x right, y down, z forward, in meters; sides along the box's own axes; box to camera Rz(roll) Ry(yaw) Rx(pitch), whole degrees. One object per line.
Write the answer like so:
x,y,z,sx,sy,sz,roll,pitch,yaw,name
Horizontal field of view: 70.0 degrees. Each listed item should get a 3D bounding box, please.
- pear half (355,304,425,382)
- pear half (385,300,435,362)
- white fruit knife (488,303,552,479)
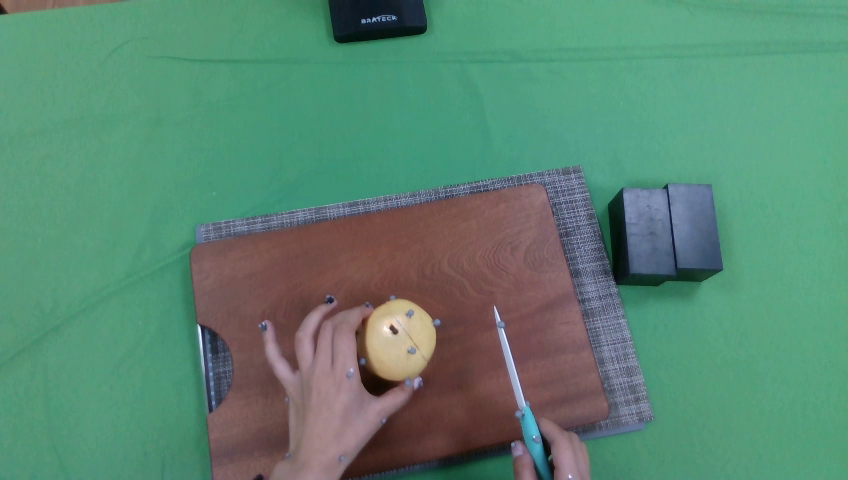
-0.037,0.100,0.572,0.056,0.110,0.076,-38,71,-12,pear half
-0.009,0.082,0.588,0.031,0.088,0.070,-40,71,-11,pear half
0.086,0.153,0.541,0.016,0.027,0.208,-19,100,-13,white fruit knife
